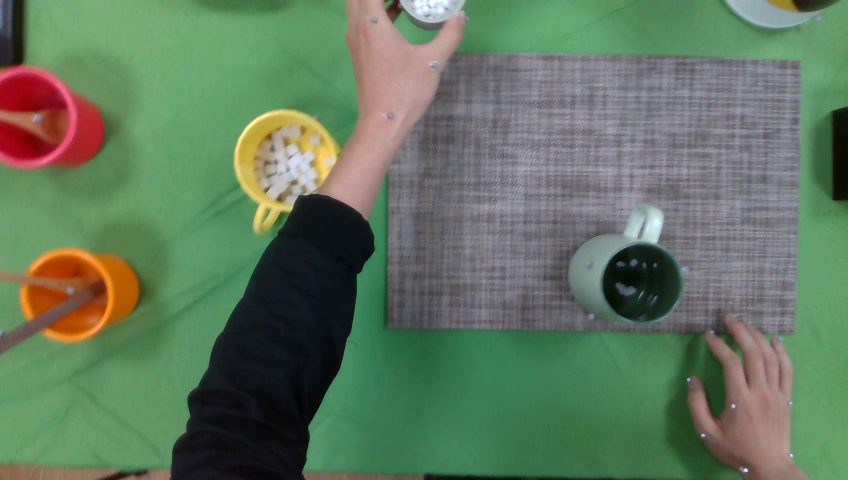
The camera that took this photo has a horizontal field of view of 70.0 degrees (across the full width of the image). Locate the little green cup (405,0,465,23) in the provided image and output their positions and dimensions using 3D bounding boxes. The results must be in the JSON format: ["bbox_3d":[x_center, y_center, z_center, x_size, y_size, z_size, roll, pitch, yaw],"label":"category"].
[{"bbox_3d":[0.010,-0.225,0.540,0.061,0.038,0.061,0,94,-1],"label":"little green cup"}]

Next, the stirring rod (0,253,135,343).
[{"bbox_3d":[-0.361,0.062,0.589,0.014,0.006,0.176,52,49,-3],"label":"stirring rod"}]

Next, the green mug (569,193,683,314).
[{"bbox_3d":[0.207,0.013,0.612,0.092,0.105,0.125,18,92,-1],"label":"green mug"}]

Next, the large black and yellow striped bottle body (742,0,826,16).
[{"bbox_3d":[0.385,-0.302,0.565,0.131,0.184,0.131,0,92,0],"label":"large black and yellow striped bottle body"}]

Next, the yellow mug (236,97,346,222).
[{"bbox_3d":[-0.140,-0.077,0.623,0.100,0.064,0.131,26,93,-2],"label":"yellow mug"}]

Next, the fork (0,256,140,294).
[{"bbox_3d":[-0.381,0.025,0.581,0.209,0.018,0.028,18,88,-45],"label":"fork"}]

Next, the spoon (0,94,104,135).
[{"bbox_3d":[-0.413,-0.136,0.577,0.195,0.021,0.041,7,92,-45],"label":"spoon"}]
